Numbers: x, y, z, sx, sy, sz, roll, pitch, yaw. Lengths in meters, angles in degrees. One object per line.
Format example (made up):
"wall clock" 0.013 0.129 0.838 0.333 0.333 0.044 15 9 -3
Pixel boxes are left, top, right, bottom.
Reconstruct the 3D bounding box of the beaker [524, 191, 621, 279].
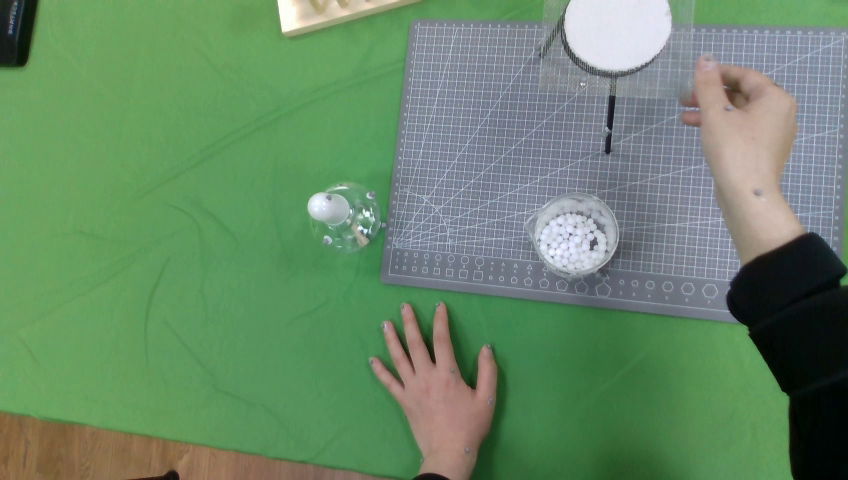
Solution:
"beaker" 0.140 -0.001 0.578 0.083 0.101 0.074 12 85 14

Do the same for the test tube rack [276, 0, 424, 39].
"test tube rack" -0.062 -0.299 0.660 0.242 0.085 0.066 -12 81 10

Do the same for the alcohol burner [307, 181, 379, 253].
"alcohol burner" -0.089 -0.027 0.623 0.078 0.119 0.077 -1 81 10

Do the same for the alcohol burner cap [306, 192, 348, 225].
"alcohol burner cap" -0.097 -0.032 0.588 0.034 0.048 0.034 -1 87 11

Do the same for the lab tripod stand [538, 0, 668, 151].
"lab tripod stand" 0.173 -0.171 0.571 0.148 0.132 0.148 -1 85 10

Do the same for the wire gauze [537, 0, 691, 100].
"wire gauze" 0.160 -0.179 0.505 0.125 0.011 0.121 5 87 12
